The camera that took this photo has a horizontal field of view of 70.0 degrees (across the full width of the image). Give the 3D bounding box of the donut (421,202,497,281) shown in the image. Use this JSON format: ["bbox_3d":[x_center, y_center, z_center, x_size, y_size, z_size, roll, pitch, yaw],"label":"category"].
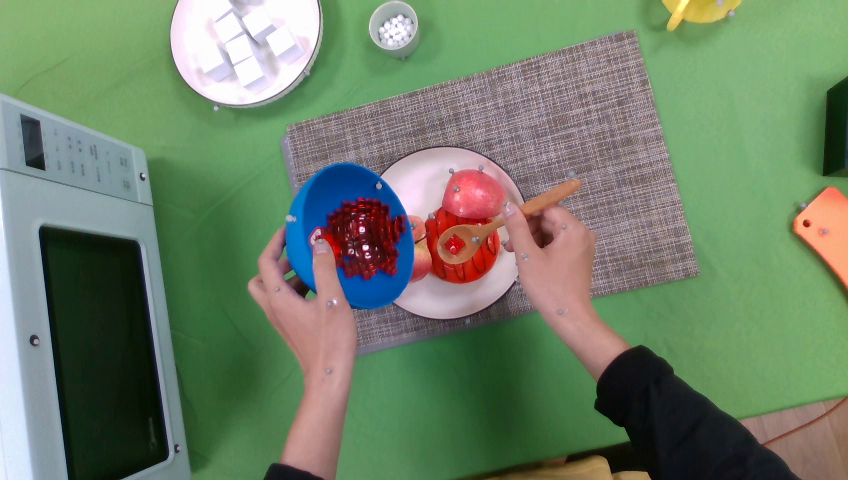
[{"bbox_3d":[0.037,0.000,0.712,0.099,0.048,0.099,0,89,9],"label":"donut"}]

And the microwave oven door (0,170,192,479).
[{"bbox_3d":[-0.358,0.118,0.662,0.039,0.244,0.354,-12,83,8],"label":"microwave oven door"}]

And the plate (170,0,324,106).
[{"bbox_3d":[-0.227,-0.274,0.792,0.207,0.039,0.207,-1,86,10],"label":"plate"}]

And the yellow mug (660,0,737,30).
[{"bbox_3d":[0.313,-0.298,0.688,0.099,0.064,0.131,34,93,11],"label":"yellow mug"}]

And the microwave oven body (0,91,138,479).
[{"bbox_3d":[-0.506,0.106,0.693,0.326,0.261,0.440,-12,84,8],"label":"microwave oven body"}]

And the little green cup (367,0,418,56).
[{"bbox_3d":[-0.037,-0.263,0.759,0.061,0.039,0.061,-1,85,10],"label":"little green cup"}]

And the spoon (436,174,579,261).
[{"bbox_3d":[0.077,-0.020,0.608,0.193,0.022,0.041,-28,83,49],"label":"spoon"}]

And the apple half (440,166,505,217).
[{"bbox_3d":[0.058,-0.063,0.697,0.081,0.033,0.080,1,47,-1],"label":"apple half"}]

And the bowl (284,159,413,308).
[{"bbox_3d":[-0.090,0.001,0.620,0.076,0.152,0.151,-17,81,39],"label":"bowl"}]

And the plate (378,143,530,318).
[{"bbox_3d":[0.022,-0.011,0.726,0.209,0.038,0.208,-1,86,10],"label":"plate"}]

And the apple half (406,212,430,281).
[{"bbox_3d":[-0.037,0.009,0.703,0.074,0.054,0.080,-16,79,49],"label":"apple half"}]

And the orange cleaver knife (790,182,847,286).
[{"bbox_3d":[0.481,0.036,0.658,0.077,0.012,0.210,-29,80,1],"label":"orange cleaver knife"}]

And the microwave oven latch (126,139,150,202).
[{"bbox_3d":[-0.378,-0.088,0.784,0.030,0.029,0.079,-11,85,8],"label":"microwave oven latch"}]
